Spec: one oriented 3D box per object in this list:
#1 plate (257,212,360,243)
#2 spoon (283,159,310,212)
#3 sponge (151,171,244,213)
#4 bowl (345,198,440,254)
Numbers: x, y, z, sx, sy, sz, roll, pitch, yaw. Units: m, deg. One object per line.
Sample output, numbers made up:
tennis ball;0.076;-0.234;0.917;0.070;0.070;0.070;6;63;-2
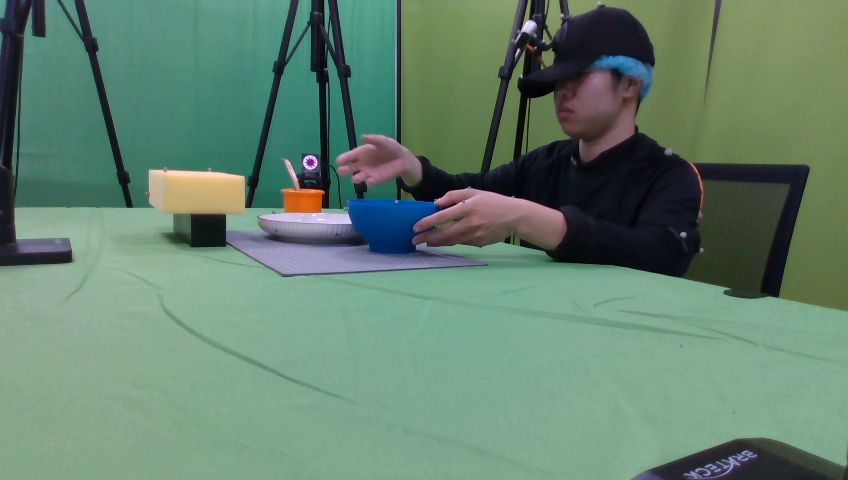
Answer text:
plate;-0.189;-0.023;1.072;0.209;0.038;0.209;3;7;0
spoon;-0.279;-0.111;1.323;0.042;0.193;0.021;2;-38;-34
sponge;-0.383;-0.082;1.010;0.119;0.061;0.206;-1;7;-30
bowl;-0.050;-0.022;0.952;0.151;0.077;0.151;3;7;0
